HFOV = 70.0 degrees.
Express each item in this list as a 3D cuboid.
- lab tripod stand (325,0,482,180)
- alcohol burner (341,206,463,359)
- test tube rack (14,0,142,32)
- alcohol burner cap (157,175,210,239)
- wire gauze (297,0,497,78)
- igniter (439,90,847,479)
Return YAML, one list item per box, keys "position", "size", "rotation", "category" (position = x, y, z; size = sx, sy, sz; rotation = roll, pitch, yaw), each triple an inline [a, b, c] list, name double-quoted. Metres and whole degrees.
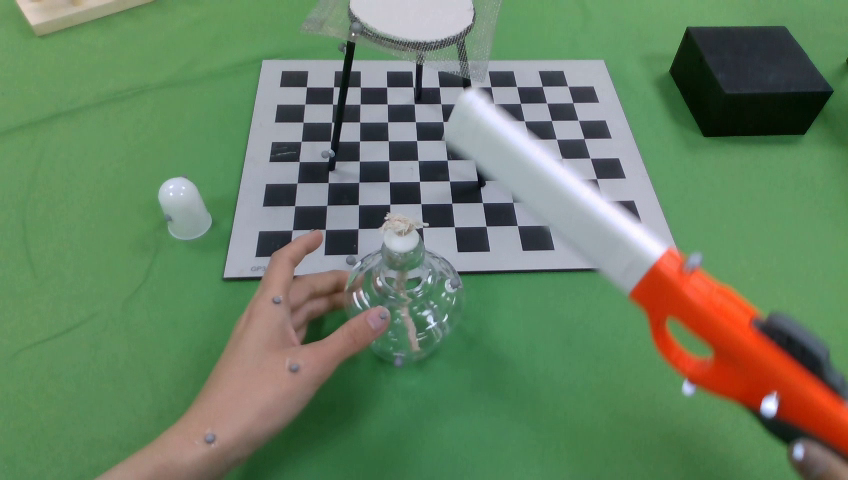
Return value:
- position: [-0.009, -0.123, 0.473]
  size: [0.148, 0.132, 0.147]
  rotation: [3, 51, -3]
  category: "lab tripod stand"
- position: [-0.014, 0.024, 0.375]
  size: [0.078, 0.120, 0.077]
  rotation: [0, 52, 0]
  category: "alcohol burner"
- position: [-0.311, -0.309, 0.634]
  size: [0.242, 0.086, 0.066]
  rotation: [-30, 60, -24]
  category: "test tube rack"
- position: [-0.182, -0.028, 0.452]
  size: [0.034, 0.048, 0.033]
  rotation: [2, 52, -2]
  category: "alcohol burner cap"
- position: [-0.009, -0.163, 0.417]
  size: [0.125, 0.011, 0.120]
  rotation: [13, 52, 5]
  category: "wire gauze"
- position: [0.111, 0.022, 0.282]
  size: [0.274, 0.057, 0.025]
  rotation: [43, 49, 18]
  category: "igniter"
